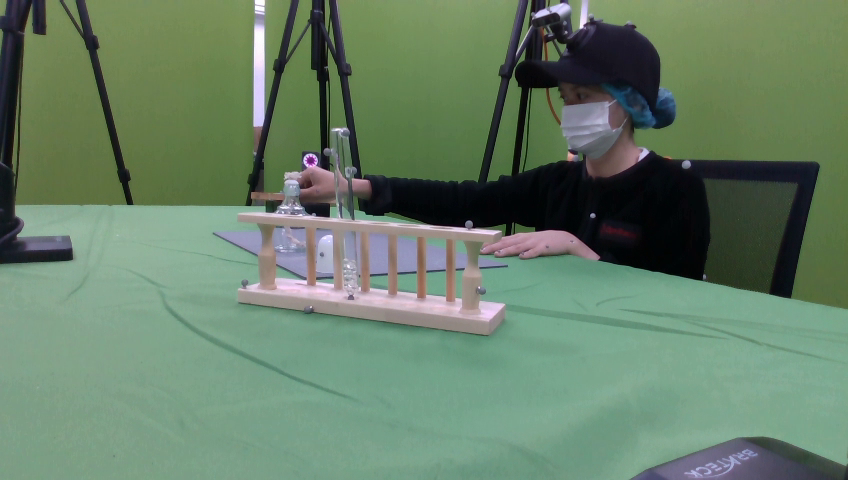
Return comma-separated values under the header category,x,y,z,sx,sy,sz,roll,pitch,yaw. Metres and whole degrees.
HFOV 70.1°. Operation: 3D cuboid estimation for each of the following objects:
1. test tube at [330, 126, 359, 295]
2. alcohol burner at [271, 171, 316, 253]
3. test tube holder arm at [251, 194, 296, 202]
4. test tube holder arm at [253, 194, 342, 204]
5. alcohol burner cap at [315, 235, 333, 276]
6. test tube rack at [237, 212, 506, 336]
category,x,y,z,sx,sy,sz,roll,pitch,yaw
test tube,-0.070,-0.024,0.533,0.017,0.150,0.017,-3,10,1
alcohol burner,-0.196,-0.041,0.884,0.078,0.119,0.078,3,5,0
test tube holder arm,-0.300,-0.084,1.206,0.088,0.015,0.010,2,10,-5
test tube holder arm,-0.255,-0.083,1.217,0.179,0.015,0.013,2,10,-8
alcohol burner cap,-0.116,0.018,0.728,0.034,0.048,0.034,3,6,0
test tube rack,-0.049,0.024,0.552,0.242,0.085,0.067,5,8,18
